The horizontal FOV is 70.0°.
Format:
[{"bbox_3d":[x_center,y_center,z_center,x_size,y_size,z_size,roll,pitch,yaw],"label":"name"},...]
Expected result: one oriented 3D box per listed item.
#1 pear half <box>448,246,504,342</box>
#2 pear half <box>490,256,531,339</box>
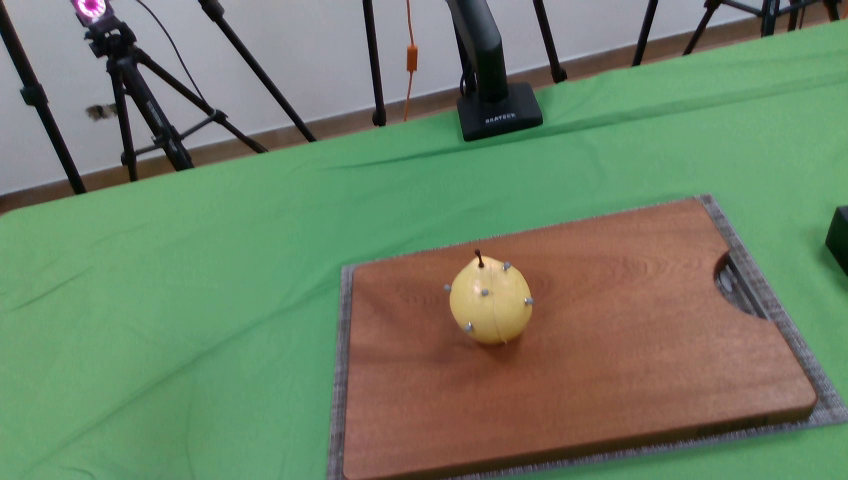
[{"bbox_3d":[0.047,0.046,0.571,0.056,0.111,0.075,-5,40,14],"label":"pear half"},{"bbox_3d":[0.084,0.051,0.569,0.031,0.089,0.070,-6,37,14],"label":"pear half"}]
